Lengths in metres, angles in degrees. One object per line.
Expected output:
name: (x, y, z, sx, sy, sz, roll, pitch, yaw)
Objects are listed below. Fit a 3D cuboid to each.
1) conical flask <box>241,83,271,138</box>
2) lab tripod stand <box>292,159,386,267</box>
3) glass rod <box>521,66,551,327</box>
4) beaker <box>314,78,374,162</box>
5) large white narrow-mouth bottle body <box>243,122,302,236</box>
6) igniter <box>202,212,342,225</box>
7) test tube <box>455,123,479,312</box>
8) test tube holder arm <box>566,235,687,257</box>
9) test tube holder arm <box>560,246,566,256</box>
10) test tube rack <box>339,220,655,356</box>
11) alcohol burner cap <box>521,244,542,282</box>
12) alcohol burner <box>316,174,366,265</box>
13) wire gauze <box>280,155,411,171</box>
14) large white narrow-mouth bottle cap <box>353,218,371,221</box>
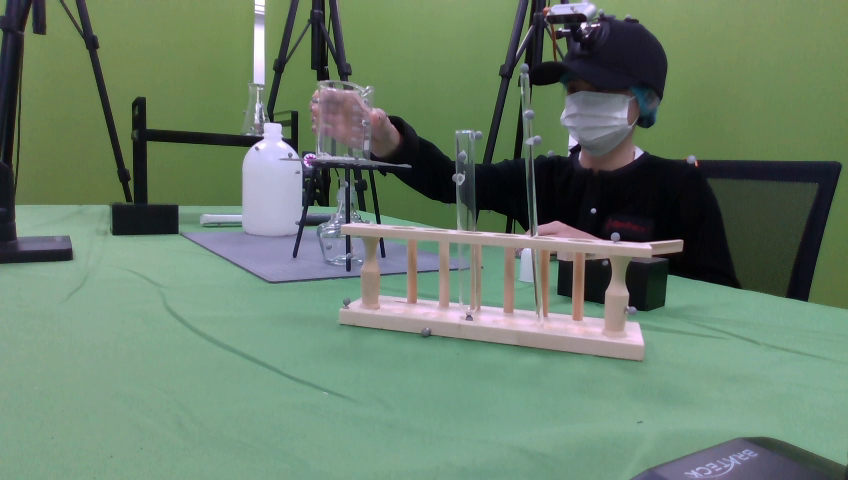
conical flask: (-0.384, -0.297, 1.393, 0.075, 0.122, 0.075, 2, 7, 0)
lab tripod stand: (-0.105, -0.039, 0.797, 0.148, 0.131, 0.148, 2, 5, 0)
glass rod: (0.085, -0.028, 0.454, 0.008, 0.199, 0.008, -7, 10, 1)
beaker: (-0.101, -0.150, 0.774, 0.074, 0.100, 0.083, -2, 8, -40)
large white narrow-mouth bottle body: (-0.264, -0.109, 1.061, 0.102, 0.194, 0.102, 2, 8, 0)
igniter: (-0.298, -0.044, 1.216, 0.278, 0.025, 0.057, -3, -2, -32)
test tube: (0.034, -0.016, 0.476, 0.017, 0.150, 0.017, -2, 10, 1)
test tube holder arm: (0.215, 0.006, 0.629, 0.179, 0.015, 0.013, -3, 9, -30)
test tube holder arm: (0.173, 0.007, 0.611, 0.088, 0.015, 0.010, -3, 9, -30)
test tube rack: (0.056, 0.032, 0.495, 0.242, 0.085, 0.067, 4, 7, 15)
alcohol burner cap: (0.136, 0.026, 0.741, 0.034, 0.048, 0.034, 1, 6, 0)
alcohol burner: (-0.102, -0.028, 0.790, 0.078, 0.119, 0.078, 0, 6, 0)
wire gauze: (-0.102, -0.103, 0.785, 0.121, 0.011, 0.126, 11, 8, 42)
large white narrow-mouth bottle cap: (-0.121, -0.029, 1.184, 0.038, 0.024, 0.037, 2, 8, 0)
